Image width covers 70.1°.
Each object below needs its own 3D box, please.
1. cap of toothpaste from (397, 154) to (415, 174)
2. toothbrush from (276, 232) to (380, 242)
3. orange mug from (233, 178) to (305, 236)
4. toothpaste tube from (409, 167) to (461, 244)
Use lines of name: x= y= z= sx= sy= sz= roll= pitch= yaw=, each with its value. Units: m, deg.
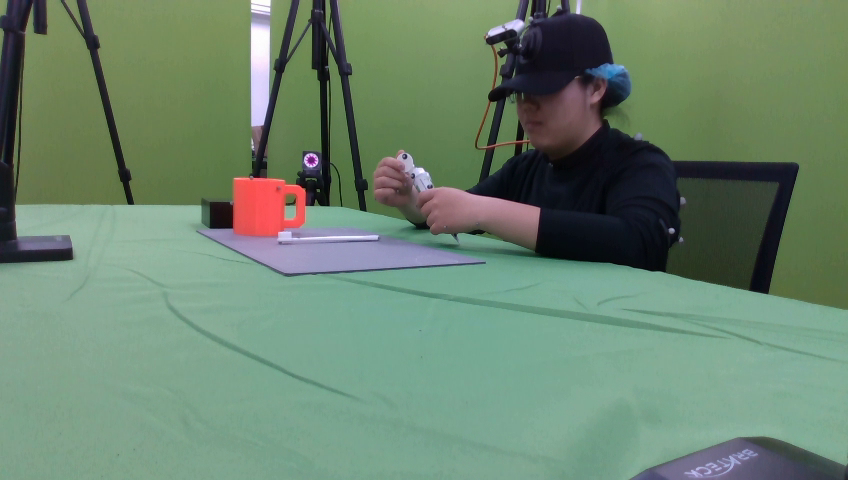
cap of toothpaste: x=-0.033 y=-0.137 z=1.090 sx=0.037 sy=0.037 sz=0.011 roll=7 pitch=15 yaw=32
toothbrush: x=-0.153 y=-0.005 z=0.990 sx=0.183 sy=0.016 sz=0.014 roll=0 pitch=-4 yaw=-33
orange mug: x=-0.273 y=-0.061 z=1.067 sx=0.127 sy=0.101 sz=0.083 roll=-5 pitch=10 yaw=-24
toothpaste tube: x=0.020 y=-0.066 z=1.069 sx=0.034 sy=0.164 sz=0.055 roll=-35 pitch=-24 yaw=12
